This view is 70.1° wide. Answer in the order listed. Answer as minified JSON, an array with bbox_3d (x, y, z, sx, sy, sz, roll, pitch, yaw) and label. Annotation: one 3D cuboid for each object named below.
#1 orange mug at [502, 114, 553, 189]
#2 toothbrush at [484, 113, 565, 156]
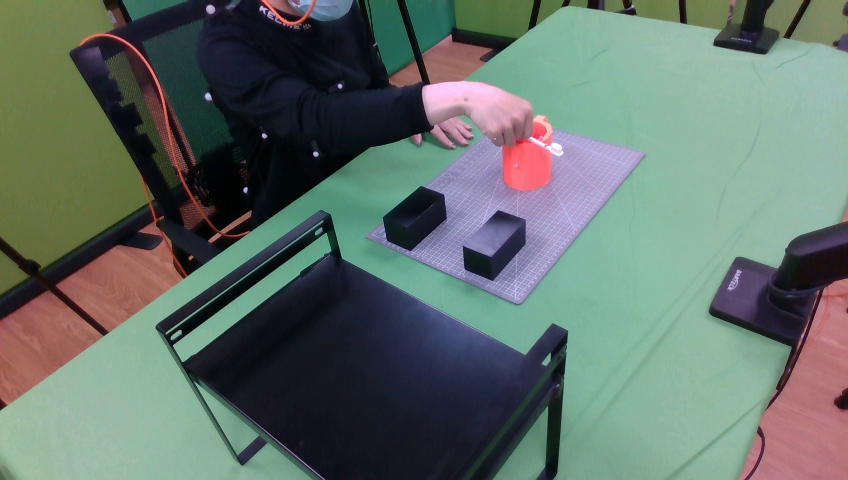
[{"bbox_3d":[0.190,-0.164,1.071,0.083,0.101,0.126,16,50,25],"label":"orange mug"},{"bbox_3d":[0.164,-0.181,1.013,0.014,0.017,0.180,-40,49,-17],"label":"toothbrush"}]
